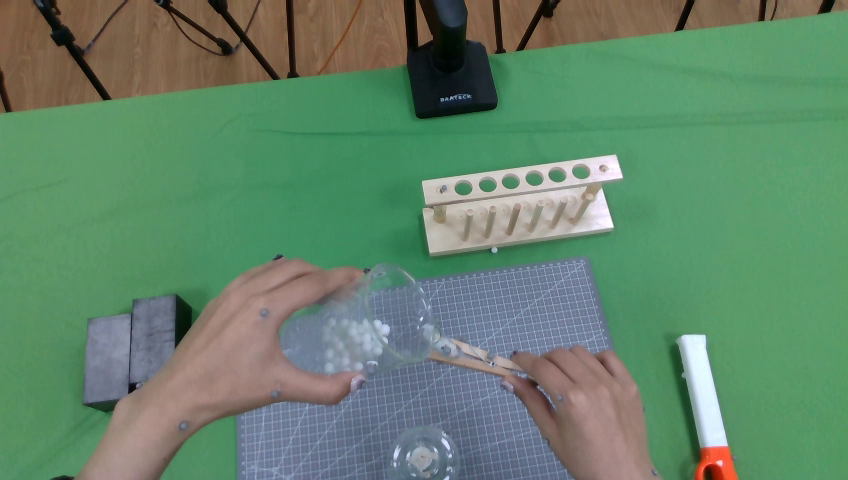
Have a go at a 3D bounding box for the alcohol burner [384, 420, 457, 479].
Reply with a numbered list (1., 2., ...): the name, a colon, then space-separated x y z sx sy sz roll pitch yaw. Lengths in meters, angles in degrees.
1. alcohol burner: -0.003 0.224 0.628 0.078 0.120 0.077 0 64 0

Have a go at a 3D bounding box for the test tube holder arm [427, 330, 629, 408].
1. test tube holder arm: 0.087 0.111 0.523 0.178 0.015 0.013 16 83 12

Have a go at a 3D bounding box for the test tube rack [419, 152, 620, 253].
1. test tube rack: 0.119 -0.046 0.765 0.242 0.086 0.066 -8 66 -3

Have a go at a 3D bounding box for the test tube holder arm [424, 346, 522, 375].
1. test tube holder arm: 0.043 0.106 0.531 0.087 0.015 0.010 9 81 11

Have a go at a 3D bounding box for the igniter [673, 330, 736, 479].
1. igniter: 0.319 0.236 0.673 0.057 0.025 0.274 3 66 -10

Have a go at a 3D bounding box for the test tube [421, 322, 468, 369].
1. test tube: 0.021 0.096 0.533 0.017 0.151 0.017 -4 69 12

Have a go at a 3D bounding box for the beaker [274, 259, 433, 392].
1. beaker: -0.053 0.067 0.448 0.100 0.085 0.073 -26 57 30
